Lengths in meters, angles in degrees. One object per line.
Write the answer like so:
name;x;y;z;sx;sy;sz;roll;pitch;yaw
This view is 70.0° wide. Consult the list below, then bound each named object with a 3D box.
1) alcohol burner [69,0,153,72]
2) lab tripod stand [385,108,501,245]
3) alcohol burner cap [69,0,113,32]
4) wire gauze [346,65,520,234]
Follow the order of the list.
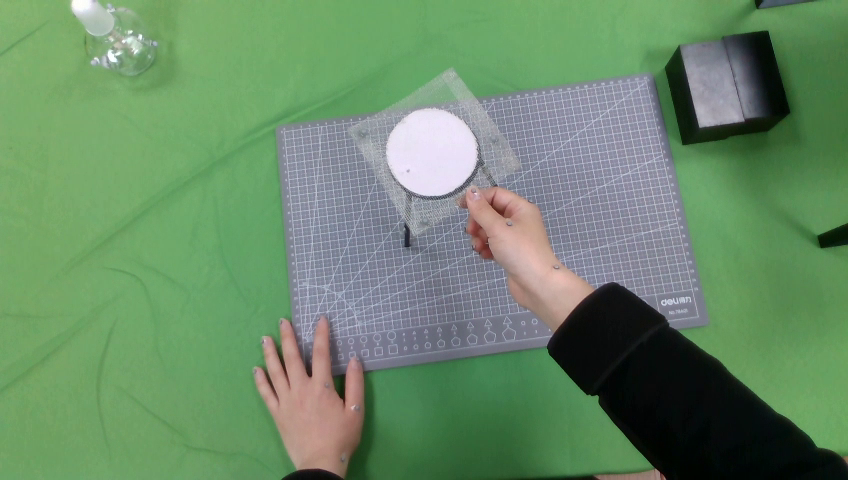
alcohol burner;-0.363;-0.244;0.694;0.078;0.119;0.077;0;79;2
lab tripod stand;0.008;-0.072;0.631;0.148;0.132;0.147;-1;78;4
alcohol burner cap;-0.365;-0.253;0.659;0.034;0.048;0.033;1;79;-4
wire gauze;0.008;-0.088;0.566;0.121;0.011;0.124;-32;80;-6
